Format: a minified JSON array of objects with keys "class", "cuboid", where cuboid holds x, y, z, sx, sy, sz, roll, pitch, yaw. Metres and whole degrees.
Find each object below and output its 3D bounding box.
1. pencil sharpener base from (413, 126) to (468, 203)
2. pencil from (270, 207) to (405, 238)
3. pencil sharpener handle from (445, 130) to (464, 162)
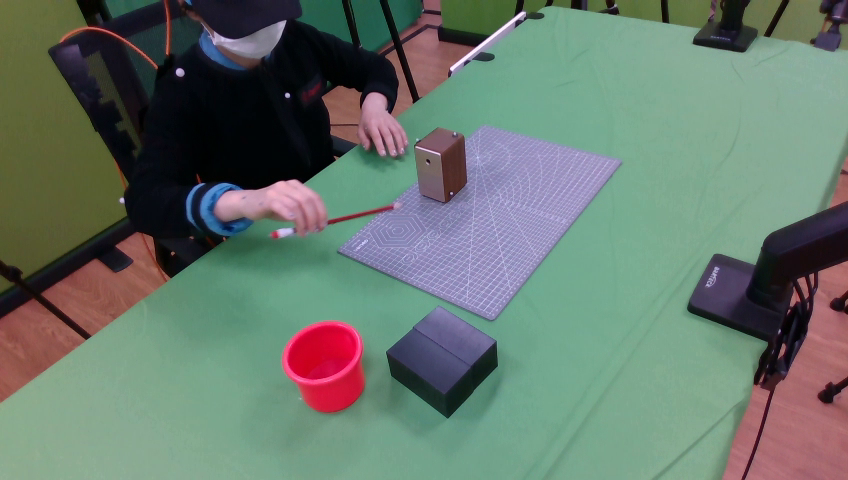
[{"class":"pencil sharpener base","cuboid":[0.032,-0.132,1.047,0.061,0.107,0.077,22,48,30]},{"class":"pencil","cuboid":[-0.117,-0.026,0.846,0.195,0.012,0.012,-13,40,-20]},{"class":"pencil sharpener handle","cuboid":[0.059,-0.171,1.070,0.036,0.068,0.031,26,50,25]}]
